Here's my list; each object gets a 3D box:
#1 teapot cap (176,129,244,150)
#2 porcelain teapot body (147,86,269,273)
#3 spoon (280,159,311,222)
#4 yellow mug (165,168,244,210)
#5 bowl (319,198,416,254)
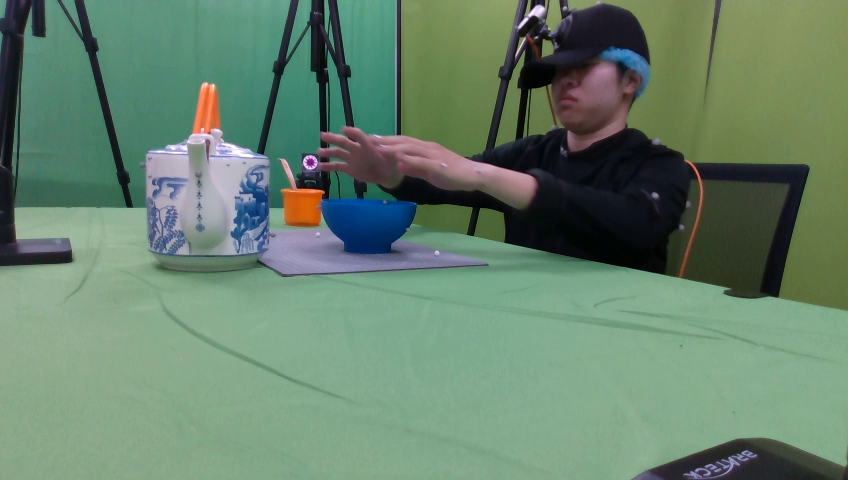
[{"bbox_3d":[-0.268,-0.117,0.760,0.085,0.044,0.085,4,9,0],"label":"teapot cap"},{"bbox_3d":[-0.263,-0.074,0.738,0.146,0.225,0.204,0,8,-16],"label":"porcelain teapot body"},{"bbox_3d":[-0.285,-0.111,1.320,0.042,0.193,0.021,-2,-36,-31],"label":"spoon"},{"bbox_3d":[-0.370,-0.086,1.027,0.131,0.064,0.100,5,7,4],"label":"yellow mug"},{"bbox_3d":[-0.088,-0.022,0.941,0.151,0.077,0.151,2,7,0],"label":"bowl"}]
